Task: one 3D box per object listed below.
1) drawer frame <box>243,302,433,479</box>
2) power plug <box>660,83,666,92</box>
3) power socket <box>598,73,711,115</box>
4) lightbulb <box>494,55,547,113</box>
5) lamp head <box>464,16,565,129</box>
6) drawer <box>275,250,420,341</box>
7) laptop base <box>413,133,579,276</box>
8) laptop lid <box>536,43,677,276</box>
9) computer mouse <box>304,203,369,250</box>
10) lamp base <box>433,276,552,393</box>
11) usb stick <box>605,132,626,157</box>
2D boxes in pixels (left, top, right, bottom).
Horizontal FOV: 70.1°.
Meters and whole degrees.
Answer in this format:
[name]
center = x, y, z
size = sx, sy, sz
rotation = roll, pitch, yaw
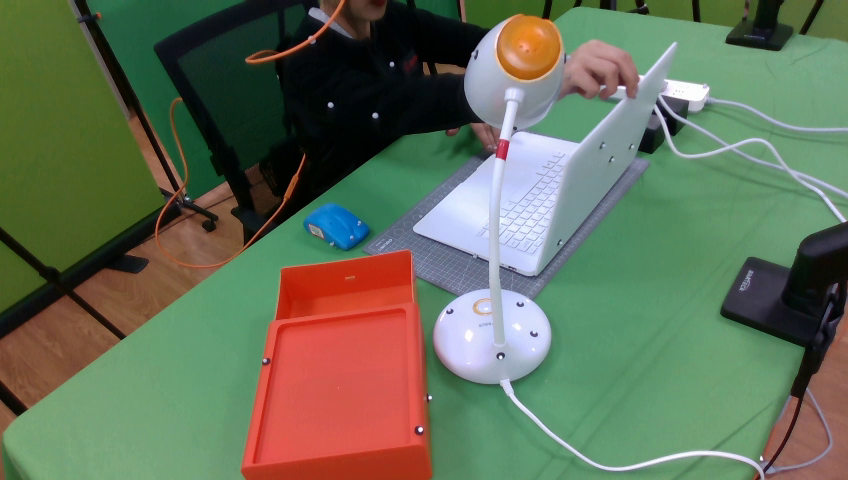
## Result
[drawer frame]
center = -0.096, 0.185, 0.738
size = 0.202, 0.083, 0.212
rotation = -8, 40, 1
[power plug]
center = 0.458, -0.301, 1.212
size = 0.073, 0.053, 0.035
rotation = -36, 47, -28
[power socket]
center = 0.470, -0.303, 1.248
size = 0.225, 0.033, 0.072
rotation = 20, 49, 30
[lightbulb]
center = 0.113, -0.179, 0.678
size = 0.059, 0.059, 0.107
rotation = -13, -2, -4
[lamp head]
center = 0.101, -0.184, 0.655
size = 0.112, 0.112, 0.123
rotation = -9, 1, 0
[drawer]
center = -0.104, 0.117, 0.825
size = 0.194, 0.073, 0.210
rotation = -8, 40, 1
[laptop base]
center = 0.176, -0.077, 1.048
size = 0.233, 0.023, 0.355
rotation = 19, 47, 34
[laptop lid]
center = 0.274, -0.122, 0.898
size = 0.013, 0.242, 0.357
rotation = 30, 51, 22
[computer mouse]
center = -0.151, -0.026, 1.037
size = 0.116, 0.041, 0.063
rotation = 28, 51, 31
[lamp base]
center = 0.085, 0.075, 0.756
size = 0.161, 0.181, 0.178
rotation = -14, 44, -5
[usb stick]
center = 0.349, -0.174, 1.110
size = 0.021, 0.027, 0.059
rotation = 21, 49, 30
